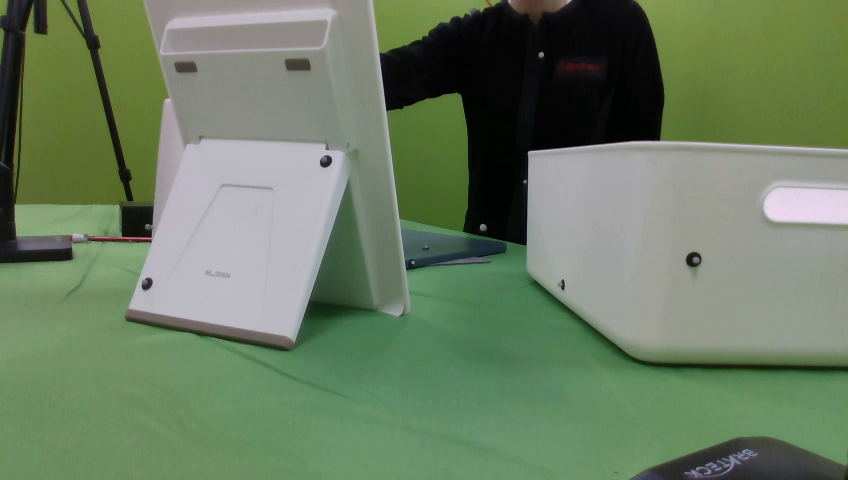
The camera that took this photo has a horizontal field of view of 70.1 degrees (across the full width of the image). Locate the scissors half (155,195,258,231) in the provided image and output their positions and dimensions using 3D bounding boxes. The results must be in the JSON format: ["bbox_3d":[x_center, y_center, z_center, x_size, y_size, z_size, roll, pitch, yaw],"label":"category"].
[{"bbox_3d":[-0.378,-0.051,1.058,0.176,0.040,0.012,20,21,-30],"label":"scissors half"}]

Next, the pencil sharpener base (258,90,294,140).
[{"bbox_3d":[-0.341,-0.285,1.388,0.062,0.107,0.076,-3,9,-36],"label":"pencil sharpener base"}]

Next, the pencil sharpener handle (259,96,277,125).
[{"bbox_3d":[-0.373,-0.304,1.425,0.036,0.067,0.030,13,-1,-37],"label":"pencil sharpener handle"}]

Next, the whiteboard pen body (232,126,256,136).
[{"bbox_3d":[-0.407,-0.247,1.372,0.017,0.017,0.140,-3,13,-35],"label":"whiteboard pen body"}]

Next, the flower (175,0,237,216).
[{"bbox_3d":[-0.276,-0.205,0.735,0.038,0.361,0.044,-13,5,6],"label":"flower"}]

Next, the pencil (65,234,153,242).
[{"bbox_3d":[-0.429,0.000,0.910,0.195,0.012,0.012,2,7,-19],"label":"pencil"}]

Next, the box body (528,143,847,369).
[{"bbox_3d":[0.257,-0.005,0.591,0.254,0.160,0.363,2,7,-4],"label":"box body"}]

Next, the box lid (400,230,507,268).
[{"bbox_3d":[-0.065,0.011,0.933,0.262,0.015,0.373,8,8,36],"label":"box lid"}]

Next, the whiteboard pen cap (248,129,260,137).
[{"bbox_3d":[-0.373,-0.235,1.326,0.018,0.018,0.033,-3,12,-35],"label":"whiteboard pen cap"}]

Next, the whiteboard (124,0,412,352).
[{"bbox_3d":[-0.151,-0.049,0.472,0.216,0.305,0.144,6,27,24],"label":"whiteboard"}]

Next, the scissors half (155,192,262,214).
[{"bbox_3d":[-0.371,-0.068,1.051,0.176,0.040,0.013,2,24,-24],"label":"scissors half"}]

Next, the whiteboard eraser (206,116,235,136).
[{"bbox_3d":[-0.449,-0.251,1.335,0.056,0.042,0.112,1,7,-22],"label":"whiteboard eraser"}]

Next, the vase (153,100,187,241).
[{"bbox_3d":[-0.278,-0.066,0.736,0.098,0.200,0.098,2,9,0],"label":"vase"}]
